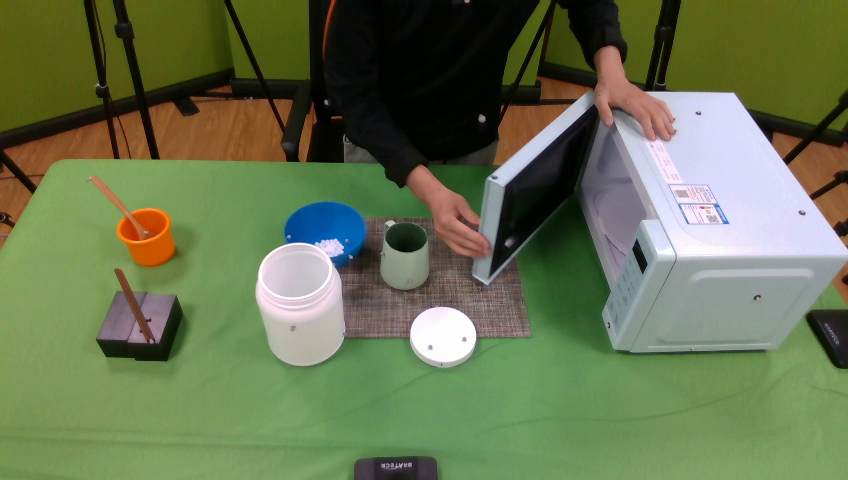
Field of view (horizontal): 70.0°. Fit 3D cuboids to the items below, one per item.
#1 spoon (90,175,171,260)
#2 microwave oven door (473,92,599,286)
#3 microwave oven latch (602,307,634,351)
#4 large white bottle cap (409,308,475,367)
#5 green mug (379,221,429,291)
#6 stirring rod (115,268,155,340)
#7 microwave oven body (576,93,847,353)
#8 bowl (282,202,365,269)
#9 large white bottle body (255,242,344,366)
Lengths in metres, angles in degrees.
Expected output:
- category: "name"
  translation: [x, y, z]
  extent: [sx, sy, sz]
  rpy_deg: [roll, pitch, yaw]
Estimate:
- category: "spoon"
  translation: [-0.539, -0.042, 1.111]
  extent: [0.021, 0.194, 0.041]
  rpy_deg: [-13, 27, 53]
- category: "microwave oven door"
  translation: [0.216, -0.102, 1.142]
  extent: [0.039, 0.245, 0.355]
  rpy_deg: [30, 51, 23]
- category: "microwave oven latch"
  translation: [0.332, 0.153, 1.044]
  extent: [0.030, 0.029, 0.078]
  rpy_deg: [-1, 45, -4]
- category: "large white bottle cap"
  translation: [0.031, 0.166, 1.041]
  extent: [0.115, 0.018, 0.114]
  rpy_deg: [2, 47, -2]
- category: "green mug"
  translation: [-0.044, 0.020, 1.116]
  extent: [0.092, 0.105, 0.124]
  rpy_deg: [-20, 50, -22]
- category: "stirring rod"
  translation: [-0.479, 0.103, 1.000]
  extent: [0.014, 0.006, 0.175]
  rpy_deg: [6, 33, -49]
- category: "microwave oven body"
  translation: [0.475, -0.041, 1.109]
  extent: [0.326, 0.261, 0.438]
  rpy_deg: [-1, 45, -4]
- category: "bowl"
  translation: [-0.186, 0.006, 1.136]
  extent: [0.151, 0.077, 0.150]
  rpy_deg: [3, 46, -3]
- category: "large white bottle body"
  translation: [-0.196, 0.102, 0.967]
  extent: [0.131, 0.185, 0.130]
  rpy_deg: [2, 49, -2]
